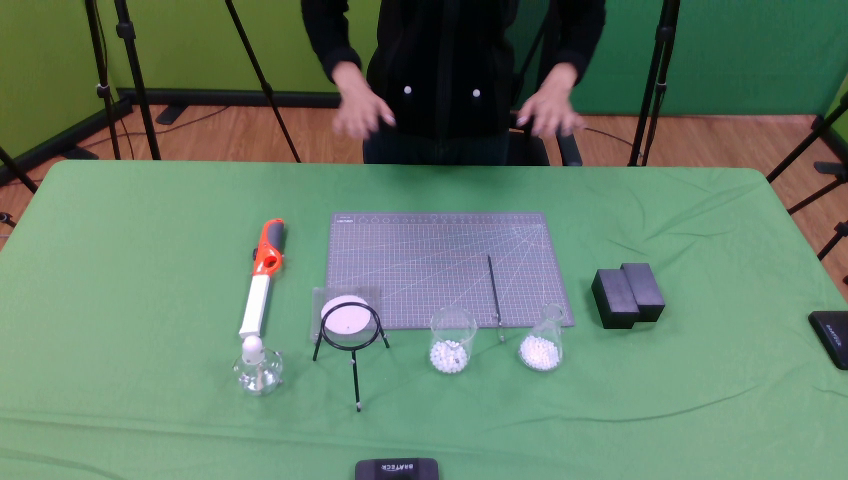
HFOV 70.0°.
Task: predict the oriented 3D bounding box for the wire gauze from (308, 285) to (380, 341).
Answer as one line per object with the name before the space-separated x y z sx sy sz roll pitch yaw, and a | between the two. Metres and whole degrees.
wire gauze | -0.141 0.128 1.071 0.125 0.011 0.120 -1 46 -5

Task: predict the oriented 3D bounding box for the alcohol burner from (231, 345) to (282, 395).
alcohol burner | -0.260 0.187 0.935 0.078 0.119 0.077 3 44 -3

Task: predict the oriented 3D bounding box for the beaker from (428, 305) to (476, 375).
beaker | 0.044 0.169 0.987 0.074 0.101 0.083 1 47 -3

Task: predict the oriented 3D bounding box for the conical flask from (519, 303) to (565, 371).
conical flask | 0.201 0.155 0.997 0.075 0.122 0.075 2 46 -2

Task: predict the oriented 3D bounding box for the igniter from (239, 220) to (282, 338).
igniter | -0.298 0.061 1.113 0.057 0.025 0.274 -5 46 4

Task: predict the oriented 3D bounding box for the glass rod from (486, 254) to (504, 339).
glass rod | 0.130 0.099 1.119 0.008 0.008 0.198 -1 47 -4

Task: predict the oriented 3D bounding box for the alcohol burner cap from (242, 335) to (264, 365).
alcohol burner cap | -0.258 0.162 0.908 0.034 0.048 0.033 5 48 -6

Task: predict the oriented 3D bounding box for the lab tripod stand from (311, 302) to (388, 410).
lab tripod stand | -0.113 0.168 0.951 0.148 0.132 0.147 2 44 -2
